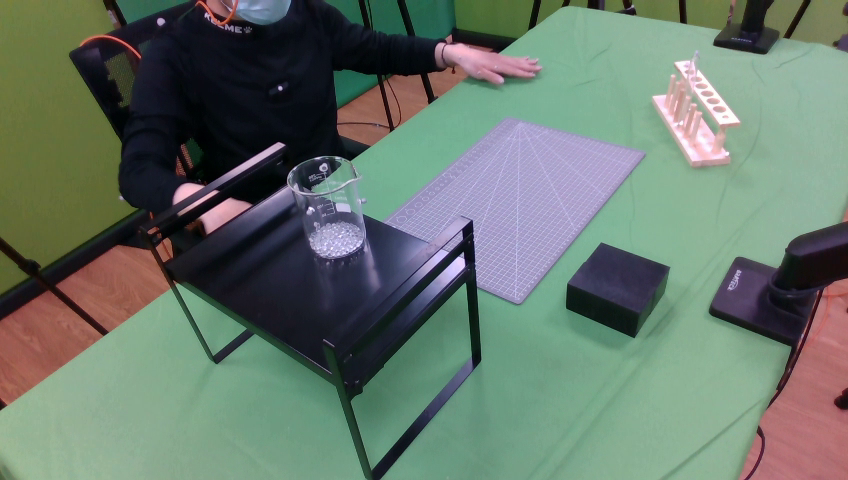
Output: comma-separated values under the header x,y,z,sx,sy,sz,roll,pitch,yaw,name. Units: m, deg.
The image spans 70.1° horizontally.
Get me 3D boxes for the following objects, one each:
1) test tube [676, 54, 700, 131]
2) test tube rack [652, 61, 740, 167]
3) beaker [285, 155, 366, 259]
x,y,z,sx,sy,sz,roll,pitch,yaw,name
0.475,-0.263,1.088,0.017,0.151,0.017,-4,42,4,test tube
0.499,-0.242,1.130,0.067,0.085,0.241,-5,41,3,test tube rack
-0.105,-0.035,0.690,0.084,0.101,0.073,-4,41,3,beaker
